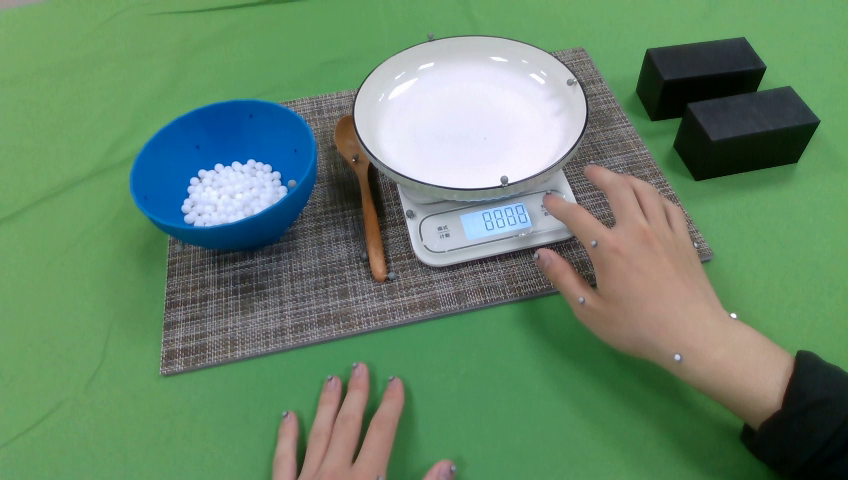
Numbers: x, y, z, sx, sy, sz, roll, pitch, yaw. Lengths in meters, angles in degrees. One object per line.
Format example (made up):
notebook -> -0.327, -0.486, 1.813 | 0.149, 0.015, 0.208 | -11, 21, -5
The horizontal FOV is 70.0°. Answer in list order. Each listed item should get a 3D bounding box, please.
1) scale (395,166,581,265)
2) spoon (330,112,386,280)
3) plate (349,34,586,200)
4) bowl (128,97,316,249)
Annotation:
scale -> 0.045, -0.073, 0.558 | 0.149, 0.032, 0.198 | -12, 53, -5
spoon -> -0.057, -0.046, 0.550 | 0.042, 0.022, 0.191 | -3, 52, -15
plate -> 0.038, -0.111, 0.546 | 0.209, 0.038, 0.207 | -1, 52, 2
bowl -> -0.162, -0.045, 0.522 | 0.151, 0.077, 0.150 | -2, 52, 3
